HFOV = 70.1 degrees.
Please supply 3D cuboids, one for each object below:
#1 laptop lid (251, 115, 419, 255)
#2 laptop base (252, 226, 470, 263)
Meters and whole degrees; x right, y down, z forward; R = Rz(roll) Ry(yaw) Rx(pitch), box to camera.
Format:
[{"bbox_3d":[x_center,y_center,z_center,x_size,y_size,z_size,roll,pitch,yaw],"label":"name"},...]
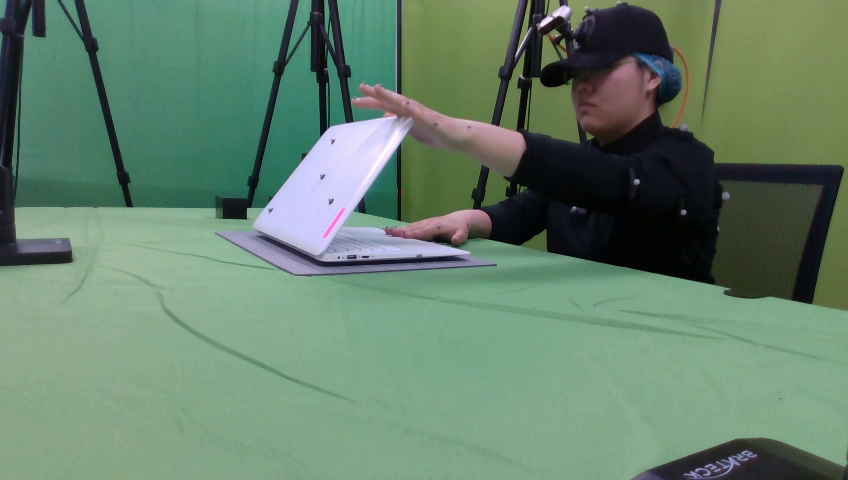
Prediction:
[{"bbox_3d":[-0.155,-0.095,0.933,0.013,0.241,0.355,41,-12,-28],"label":"laptop lid"},{"bbox_3d":[-0.117,0.005,0.971,0.237,0.023,0.352,3,6,-30],"label":"laptop base"}]
